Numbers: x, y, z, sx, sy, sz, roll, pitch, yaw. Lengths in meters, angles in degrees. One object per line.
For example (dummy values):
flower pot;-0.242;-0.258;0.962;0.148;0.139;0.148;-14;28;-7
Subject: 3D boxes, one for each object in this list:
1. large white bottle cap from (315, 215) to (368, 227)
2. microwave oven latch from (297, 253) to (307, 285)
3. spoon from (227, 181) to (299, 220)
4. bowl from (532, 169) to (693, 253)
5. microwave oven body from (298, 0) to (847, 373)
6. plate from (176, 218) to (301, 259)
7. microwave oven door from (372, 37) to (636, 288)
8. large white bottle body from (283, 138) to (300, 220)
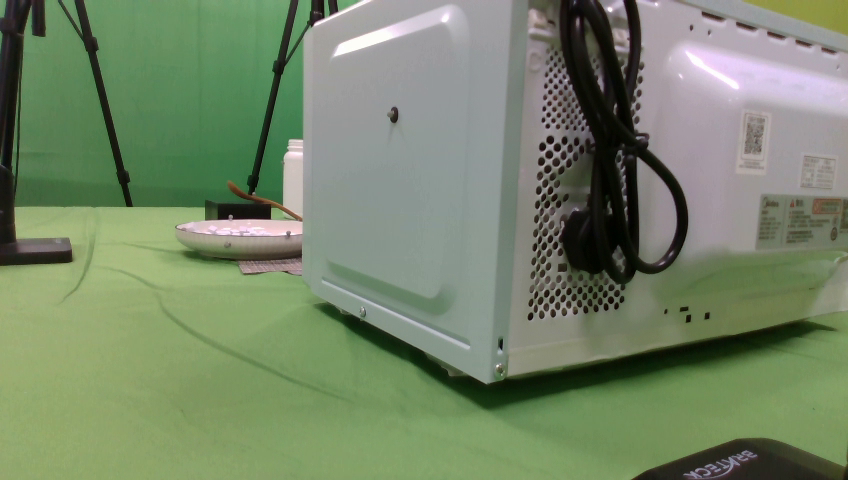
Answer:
large white bottle cap;-0.178;-0.041;1.308;0.115;0.018;0.115;2;6;0
microwave oven latch;-0.082;0.027;0.582;0.079;0.029;0.030;-1;7;-33
spoon;-0.315;-0.074;1.234;0.195;0.021;0.041;24;-9;-37
bowl;0.181;-0.030;0.596;0.151;0.077;0.151;1;7;0
microwave oven body;0.151;-0.055;0.542;0.444;0.260;0.324;-1;7;-33
plate;-0.248;-0.003;0.877;0.209;0.038;0.209;1;8;0
microwave oven door;0.109;-0.080;0.686;0.358;0.243;0.039;-2;9;-33
large white bottle body;-0.265;-0.143;1.424;0.131;0.184;0.130;2;7;0
